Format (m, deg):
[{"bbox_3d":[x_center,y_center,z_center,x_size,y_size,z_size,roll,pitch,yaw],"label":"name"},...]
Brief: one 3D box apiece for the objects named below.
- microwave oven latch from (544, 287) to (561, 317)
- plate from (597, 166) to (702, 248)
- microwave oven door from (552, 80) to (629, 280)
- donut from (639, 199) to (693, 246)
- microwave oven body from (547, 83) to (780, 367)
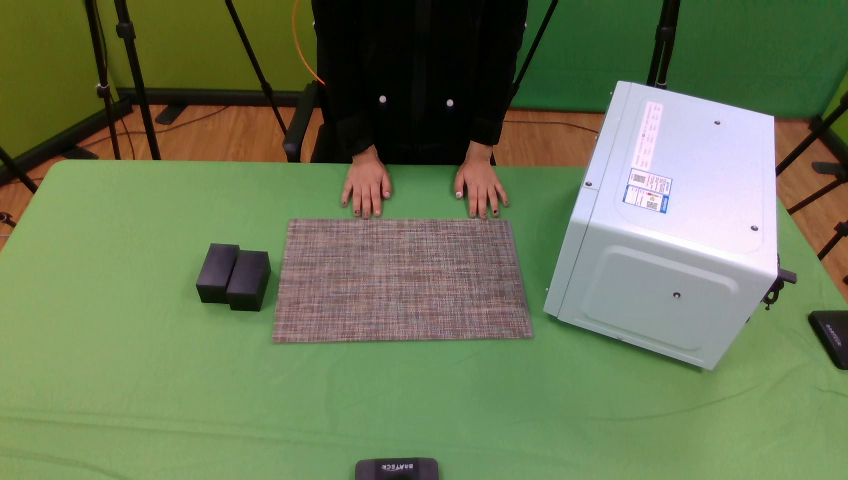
[{"bbox_3d":[0.237,0.098,1.087,0.030,0.029,0.079,17,47,13],"label":"microwave oven latch"},{"bbox_3d":[0.432,-0.061,1.175,0.209,0.038,0.208,8,48,-8],"label":"plate"},{"bbox_3d":[0.324,-0.116,1.156,0.039,0.245,0.354,18,48,13],"label":"microwave oven door"},{"bbox_3d":[0.462,-0.034,1.159,0.099,0.048,0.098,0,62,0],"label":"donut"},{"bbox_3d":[0.445,-0.041,1.101,0.325,0.261,0.440,17,47,13],"label":"microwave oven body"}]
